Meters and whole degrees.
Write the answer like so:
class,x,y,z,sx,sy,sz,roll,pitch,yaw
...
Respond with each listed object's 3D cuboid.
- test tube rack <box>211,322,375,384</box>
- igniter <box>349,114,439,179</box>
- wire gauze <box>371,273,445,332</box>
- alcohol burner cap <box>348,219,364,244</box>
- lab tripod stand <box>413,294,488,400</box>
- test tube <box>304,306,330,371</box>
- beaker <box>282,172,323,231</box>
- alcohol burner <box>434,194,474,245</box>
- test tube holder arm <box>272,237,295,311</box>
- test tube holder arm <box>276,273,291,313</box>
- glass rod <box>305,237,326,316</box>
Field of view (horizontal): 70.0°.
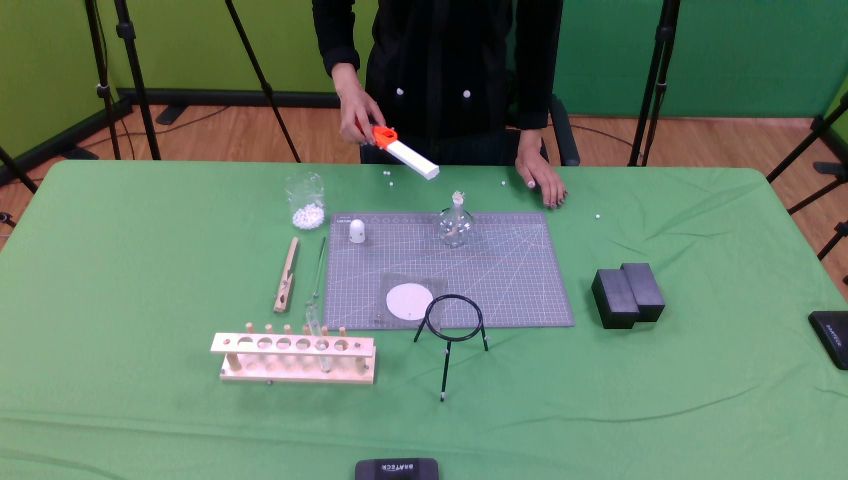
class,x,y,z,sx,sy,sz,roll,pitch,yaw
test tube rack,-0.203,0.176,0.969,0.242,0.085,0.066,3,46,-2
igniter,-0.068,-0.191,1.200,0.057,0.025,0.275,-33,48,-22
wire gauze,-0.028,0.108,1.100,0.125,0.011,0.121,7,45,4
alcohol burner cap,-0.134,-0.019,1.190,0.034,0.048,0.033,2,46,-2
lab tripod stand,0.044,0.159,0.972,0.148,0.132,0.147,2,44,-2
test tube,-0.162,0.153,0.925,0.017,0.151,0.017,-2,44,2
beaker,-0.234,-0.073,1.199,0.084,0.101,0.074,24,49,17
alcohol burner,0.061,-0.046,1.183,0.078,0.119,0.077,3,47,-3
test tube holder arm,-0.258,0.059,1.123,0.013,0.015,0.177,27,39,-25
test tube holder arm,-0.253,0.093,1.094,0.010,0.015,0.087,27,39,-25
glass rod,-0.202,0.063,1.131,0.008,0.008,0.198,4,44,0
